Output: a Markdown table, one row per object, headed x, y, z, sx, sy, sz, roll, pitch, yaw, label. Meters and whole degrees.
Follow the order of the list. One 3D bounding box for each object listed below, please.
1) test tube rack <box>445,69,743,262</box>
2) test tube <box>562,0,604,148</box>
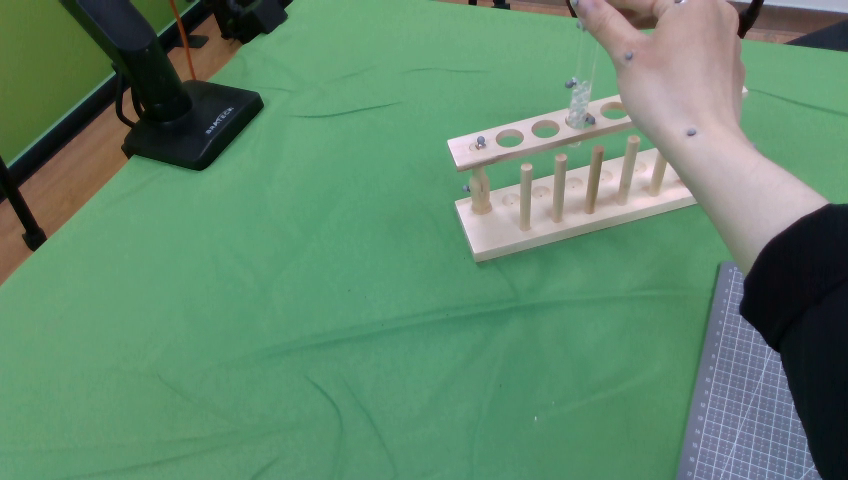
| x | y | z | sx | sy | sz | roll | pitch | yaw | label |
| --- | --- | --- | --- | --- | --- | --- | --- | --- | --- |
| 0.146 | -0.062 | 0.510 | 0.242 | 0.086 | 0.066 | -15 | 50 | -3 | test tube rack |
| 0.116 | -0.127 | 0.450 | 0.017 | 0.152 | 0.017 | -2 | 50 | 3 | test tube |
